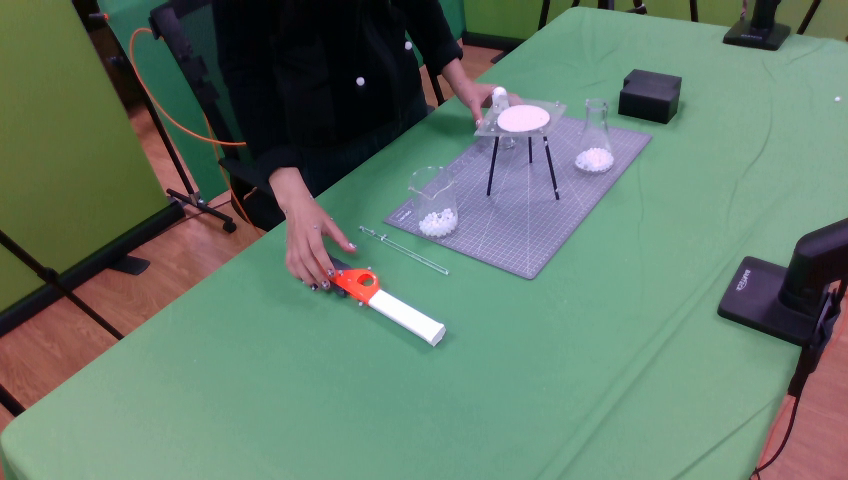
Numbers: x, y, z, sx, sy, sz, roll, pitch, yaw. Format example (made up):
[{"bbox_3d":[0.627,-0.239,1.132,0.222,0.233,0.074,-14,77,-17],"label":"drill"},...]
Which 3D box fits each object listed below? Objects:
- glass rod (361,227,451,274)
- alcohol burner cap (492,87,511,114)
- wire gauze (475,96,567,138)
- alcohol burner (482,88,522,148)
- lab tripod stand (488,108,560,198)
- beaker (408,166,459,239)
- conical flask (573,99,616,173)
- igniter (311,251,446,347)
[{"bbox_3d":[-0.033,0.014,0.985,0.198,0.008,0.008,25,52,35],"label":"glass rod"},{"bbox_3d":[0.144,-0.264,1.137,0.034,0.048,0.033,-10,40,9],"label":"alcohol burner cap"},{"bbox_3d":[0.161,-0.201,0.994,0.121,0.011,0.125,11,43,23],"label":"wire gauze"},{"bbox_3d":[0.149,-0.237,1.161,0.078,0.119,0.077,-4,39,4],"label":"alcohol burner"},{"bbox_3d":[0.173,-0.150,1.037,0.148,0.132,0.147,-7,38,6],"label":"lab tripod stand"},{"bbox_3d":[0.018,-0.058,0.984,0.074,0.101,0.083,-6,41,6],"label":"beaker"},{"bbox_3d":[0.302,-0.184,1.061,0.075,0.122,0.075,-5,40,5],"label":"conical flask"},{"bbox_3d":[-0.078,0.081,0.899,0.274,0.025,0.057,27,63,35],"label":"igniter"}]
